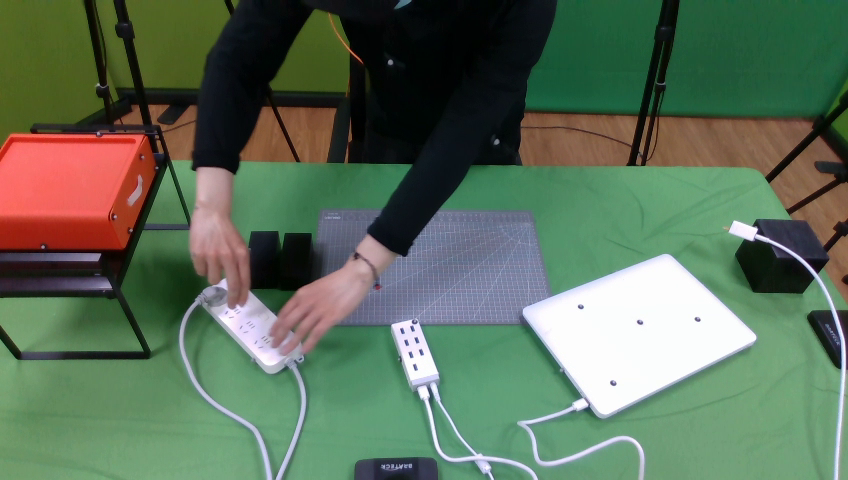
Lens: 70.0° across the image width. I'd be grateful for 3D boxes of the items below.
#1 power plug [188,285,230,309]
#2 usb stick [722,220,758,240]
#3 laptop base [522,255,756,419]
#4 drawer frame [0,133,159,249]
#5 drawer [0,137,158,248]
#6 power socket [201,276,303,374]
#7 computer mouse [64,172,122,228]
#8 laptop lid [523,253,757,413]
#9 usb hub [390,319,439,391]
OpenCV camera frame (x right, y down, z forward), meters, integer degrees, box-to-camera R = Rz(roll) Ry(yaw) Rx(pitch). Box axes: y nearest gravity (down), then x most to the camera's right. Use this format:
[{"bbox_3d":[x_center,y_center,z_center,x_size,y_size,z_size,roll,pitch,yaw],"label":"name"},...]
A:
[{"bbox_3d":[-0.370,0.103,1.039,0.072,0.053,0.035,-26,54,-24],"label":"power plug"},{"bbox_3d":[0.593,-0.022,1.139,0.059,0.027,0.021,22,12,28],"label":"usb stick"},{"bbox_3d":[0.381,0.157,1.080,0.355,0.023,0.234,-18,48,-20],"label":"laptop base"},{"bbox_3d":[-0.553,-0.078,0.942,0.214,0.083,0.200,-1,47,-4],"label":"drawer frame"},{"bbox_3d":[-0.549,-0.079,0.944,0.212,0.073,0.193,0,47,-3],"label":"drawer"},{"bbox_3d":[-0.296,0.141,1.034,0.225,0.033,0.072,37,55,27],"label":"power socket"},{"bbox_3d":[-0.522,-0.067,0.955,0.063,0.041,0.116,1,48,-9],"label":"computer mouse"},{"bbox_3d":[0.380,0.147,1.073,0.357,0.013,0.240,-17,48,-19],"label":"laptop lid"},{"bbox_3d":[-0.016,0.190,1.013,0.049,0.025,0.124,-10,48,-15],"label":"usb hub"}]
